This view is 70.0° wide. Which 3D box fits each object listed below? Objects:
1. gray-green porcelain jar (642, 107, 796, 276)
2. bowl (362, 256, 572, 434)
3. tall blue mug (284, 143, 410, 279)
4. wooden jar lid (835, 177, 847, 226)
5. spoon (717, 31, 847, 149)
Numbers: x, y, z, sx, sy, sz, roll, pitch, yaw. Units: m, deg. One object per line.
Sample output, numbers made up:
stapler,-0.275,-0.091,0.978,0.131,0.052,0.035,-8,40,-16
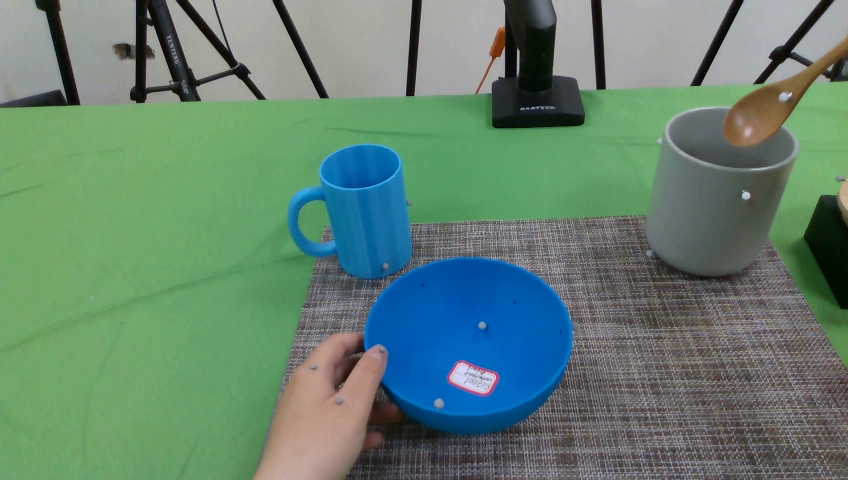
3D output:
gray-green porcelain jar,0.259,-0.039,0.548,0.106,0.128,0.105,-3,41,3
bowl,0.032,0.090,0.458,0.151,0.077,0.150,-3,41,3
tall blue mug,-0.068,-0.020,0.573,0.107,0.109,0.077,-33,48,-28
wooden jar lid,0.415,-0.023,0.523,0.108,0.021,0.107,-4,40,3
spoon,0.270,-0.120,0.402,0.022,0.194,0.041,1,67,-16
